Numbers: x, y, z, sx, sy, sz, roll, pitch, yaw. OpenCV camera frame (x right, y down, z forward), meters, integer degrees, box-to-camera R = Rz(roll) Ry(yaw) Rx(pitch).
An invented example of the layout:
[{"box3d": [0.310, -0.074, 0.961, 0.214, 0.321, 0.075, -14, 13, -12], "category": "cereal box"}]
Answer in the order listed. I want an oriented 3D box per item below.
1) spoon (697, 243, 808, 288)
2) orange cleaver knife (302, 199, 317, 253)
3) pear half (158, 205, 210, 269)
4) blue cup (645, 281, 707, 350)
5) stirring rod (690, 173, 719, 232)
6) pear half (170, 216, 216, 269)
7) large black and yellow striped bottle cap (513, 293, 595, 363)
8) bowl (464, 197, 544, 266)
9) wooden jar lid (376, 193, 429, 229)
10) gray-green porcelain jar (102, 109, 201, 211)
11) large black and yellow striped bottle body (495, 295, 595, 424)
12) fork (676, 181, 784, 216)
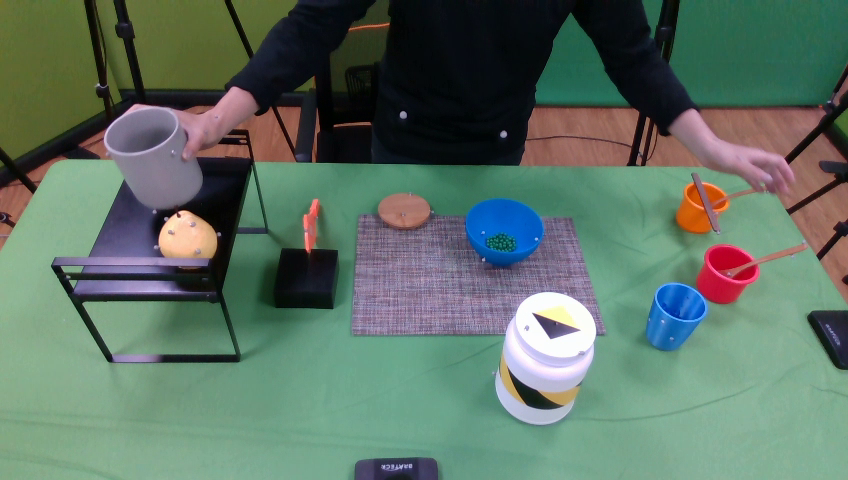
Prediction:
[{"box3d": [0.601, 0.045, 1.115, 0.194, 0.022, 0.041, -29, 35, 30], "category": "spoon"}, {"box3d": [-0.219, -0.031, 1.168, 0.012, 0.077, 0.210, -5, 17, -3], "category": "orange cleaver knife"}, {"box3d": [-0.352, -0.015, 0.872, 0.056, 0.110, 0.076, 26, 46, 19], "category": "pear half"}, {"box3d": [0.425, 0.136, 1.042, 0.093, 0.101, 0.092, 1, 45, -1], "category": "blue cup"}, {"box3d": [0.566, -0.079, 1.225, 0.014, 0.006, 0.175, 2, 45, 2], "category": "stirring rod"}, {"box3d": [-0.324, 0.007, 0.866, 0.031, 0.088, 0.070, 25, 46, 20], "category": "pear half"}, {"box3d": [0.186, 0.123, 0.863, 0.115, 0.019, 0.114, 3, 45, -3], "category": "large black and yellow striped bottle cap"}, {"box3d": [0.149, -0.004, 1.167, 0.151, 0.077, 0.150, 2, 46, -2], "category": "bowl"}, {"box3d": [-0.044, -0.058, 1.246, 0.108, 0.021, 0.107, 3, 40, -2], "category": "wooden jar lid"}, {"box3d": [-0.402, -0.115, 0.911, 0.106, 0.127, 0.105, -1, 52, 2], "category": "gray-green porcelain jar"}, {"box3d": [0.183, 0.182, 0.923, 0.131, 0.185, 0.130, 2, 46, -2], "category": "large black and yellow striped bottle body"}, {"box3d": [0.618, -0.083, 1.235, 0.019, 0.207, 0.028, 55, 40, -15], "category": "fork"}]
